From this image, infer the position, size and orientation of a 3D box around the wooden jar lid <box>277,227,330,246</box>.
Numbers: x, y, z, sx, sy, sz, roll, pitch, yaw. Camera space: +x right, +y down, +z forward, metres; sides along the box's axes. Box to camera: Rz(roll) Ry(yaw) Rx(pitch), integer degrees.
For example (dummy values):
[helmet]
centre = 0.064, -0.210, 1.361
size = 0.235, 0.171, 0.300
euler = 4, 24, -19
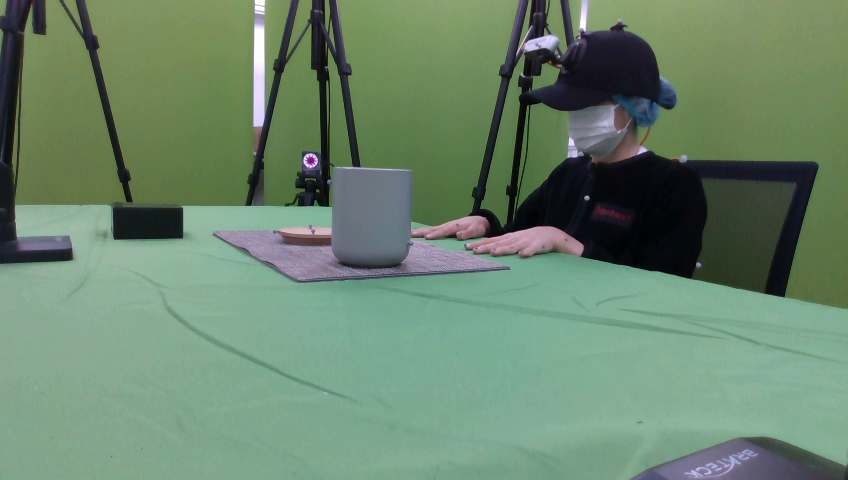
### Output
[wooden jar lid]
centre = -0.183, -0.006, 0.979
size = 0.108, 0.020, 0.108
euler = 3, 8, 0

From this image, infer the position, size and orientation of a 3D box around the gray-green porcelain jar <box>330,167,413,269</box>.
[gray-green porcelain jar]
centre = -0.069, -0.030, 0.791
size = 0.106, 0.126, 0.106
euler = 3, 7, 0
